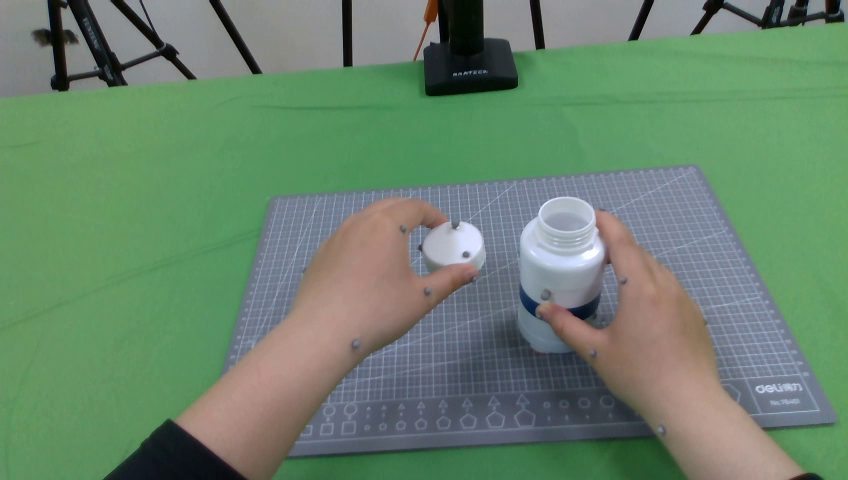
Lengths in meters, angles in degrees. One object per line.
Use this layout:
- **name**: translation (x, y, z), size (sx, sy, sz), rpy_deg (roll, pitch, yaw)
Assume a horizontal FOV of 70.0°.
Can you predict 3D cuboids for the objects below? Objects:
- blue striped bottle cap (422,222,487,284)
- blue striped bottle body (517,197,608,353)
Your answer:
- **blue striped bottle cap**: translation (0.021, 0.008, 0.429), size (0.044, 0.021, 0.044), rpy_deg (-8, 46, 9)
- **blue striped bottle body**: translation (0.102, 0.025, 0.454), size (0.063, 0.122, 0.062), rpy_deg (-3, 44, 4)
